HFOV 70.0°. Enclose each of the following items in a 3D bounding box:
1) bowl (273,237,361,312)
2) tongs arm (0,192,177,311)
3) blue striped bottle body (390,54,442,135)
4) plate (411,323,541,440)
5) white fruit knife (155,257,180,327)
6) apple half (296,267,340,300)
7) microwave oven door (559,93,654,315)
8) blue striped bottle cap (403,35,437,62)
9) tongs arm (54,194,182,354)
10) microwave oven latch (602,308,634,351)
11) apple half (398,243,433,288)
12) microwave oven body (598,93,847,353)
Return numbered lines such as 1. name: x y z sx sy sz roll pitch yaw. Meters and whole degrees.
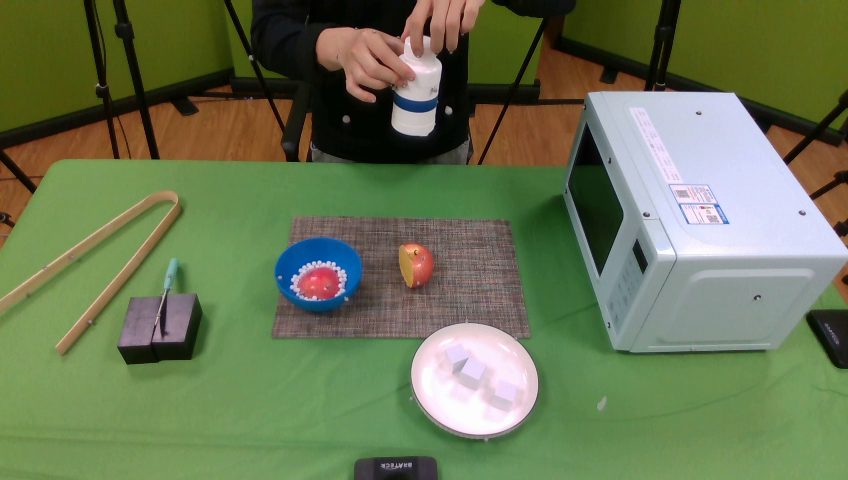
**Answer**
1. bowl: -0.186 0.074 1.069 0.151 0.077 0.150 3 46 -3
2. tongs arm: -0.618 0.019 1.124 0.050 0.026 0.384 24 47 16
3. blue striped bottle body: -0.011 -0.212 0.838 0.063 0.121 0.062 5 39 -4
4. plate: 0.082 0.228 0.976 0.208 0.039 0.206 2 45 -2
5. white fruit knife: -0.440 0.085 1.037 0.016 0.027 0.206 10 26 -19
6. apple half: -0.187 0.070 1.067 0.081 0.033 0.081 2 47 -2
7. microwave oven door: 0.327 -0.074 1.123 0.039 0.245 0.353 0 46 -5
8. blue striped bottle cap: -0.005 -0.254 0.803 0.044 0.021 0.044 4 40 -3
9. tongs arm: -0.543 0.048 1.108 0.028 0.028 0.385 11 45 10
10. microwave oven latch: 0.332 0.153 1.044 0.030 0.029 0.078 -1 45 -4
11. apple half: -0.012 0.046 1.115 0.053 0.075 0.080 -11 44 -19
12. microwave oven body: 0.475 -0.041 1.109 0.326 0.261 0.438 -1 45 -4
